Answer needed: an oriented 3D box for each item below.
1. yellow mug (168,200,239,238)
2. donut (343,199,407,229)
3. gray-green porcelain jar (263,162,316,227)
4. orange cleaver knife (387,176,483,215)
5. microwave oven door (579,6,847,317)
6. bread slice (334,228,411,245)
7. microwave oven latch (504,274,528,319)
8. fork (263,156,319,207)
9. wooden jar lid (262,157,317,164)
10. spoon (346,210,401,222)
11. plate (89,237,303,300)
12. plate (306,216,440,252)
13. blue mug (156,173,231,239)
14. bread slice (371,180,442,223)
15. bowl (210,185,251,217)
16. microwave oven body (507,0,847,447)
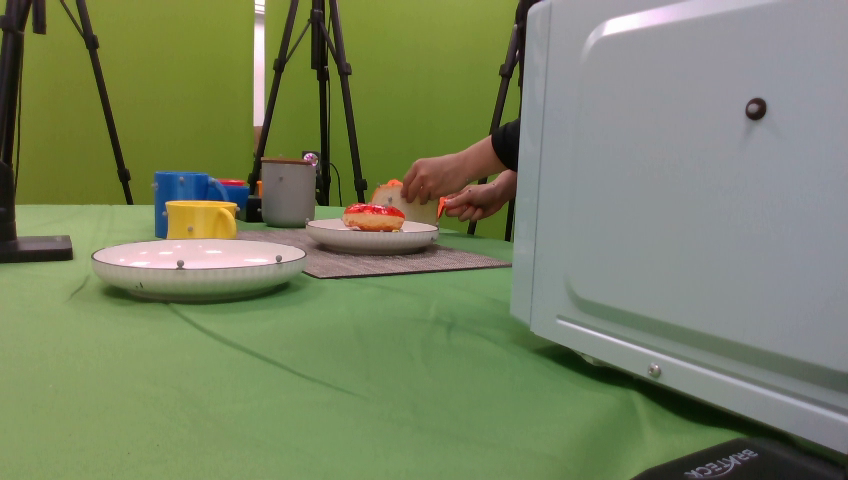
[{"bbox_3d":[-0.320,-0.023,0.904,0.130,0.064,0.100,9,11,36],"label":"yellow mug"},{"bbox_3d":[-0.077,-0.039,0.948,0.099,0.048,0.099,2,4,0],"label":"donut"},{"bbox_3d":[-0.271,-0.092,1.217,0.106,0.126,0.106,2,7,0],"label":"gray-green porcelain jar"},{"bbox_3d":[0.013,-0.078,1.225,0.211,0.077,0.012,14,-30,-2],"label":"orange cleaver knife"},{"bbox_3d":[0.294,-0.067,0.570,0.358,0.243,0.039,-3,9,-31],"label":"microwave oven door"},{"bbox_3d":[-0.075,-0.006,0.937,0.105,0.019,0.131,-2,5,-20],"label":"bread slice"},{"bbox_3d":[0.100,0.041,0.471,0.079,0.029,0.030,-1,8,-28],"label":"microwave oven latch"},{"bbox_3d":[-0.331,-0.144,1.505,0.207,0.018,0.028,-42,-21,22],"label":"fork"},{"bbox_3d":[-0.269,-0.154,1.208,0.108,0.020,0.108,3,4,0],"label":"wooden jar lid"},{"bbox_3d":[-0.120,-0.059,1.400,0.042,0.021,0.192,-28,25,-37],"label":"spoon"},{"bbox_3d":[-0.233,0.029,0.637,0.208,0.039,0.207,2,7,0],"label":"plate"},{"bbox_3d":[-0.080,-0.011,0.949,0.209,0.038,0.209,2,8,0],"label":"plate"},{"bbox_3d":[-0.381,-0.057,1.004,0.117,0.106,0.082,1,8,-12],"label":"blue mug"},{"bbox_3d":[-0.034,-0.059,1.131,0.135,0.107,0.018,-3,15,-15],"label":"bread slice"},{"bbox_3d":[-0.408,-0.064,1.155,0.151,0.077,0.151,2,8,0],"label":"bowl"},{"bbox_3d":[0.331,-0.042,0.425,0.444,0.260,0.324,-2,8,-31],"label":"microwave oven body"}]
